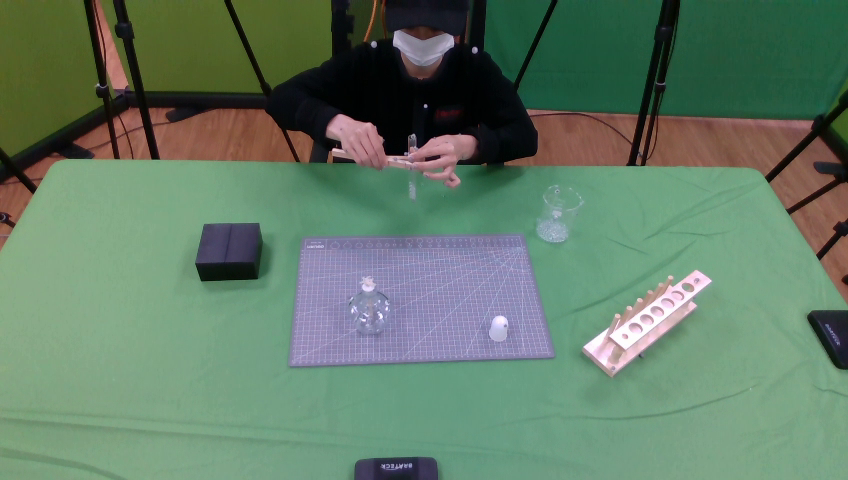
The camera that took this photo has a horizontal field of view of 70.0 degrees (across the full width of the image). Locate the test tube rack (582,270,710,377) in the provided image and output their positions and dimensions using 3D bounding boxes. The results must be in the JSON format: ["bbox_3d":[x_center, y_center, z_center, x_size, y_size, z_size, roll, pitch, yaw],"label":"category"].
[{"bbox_3d":[0.389,0.132,1.057,0.242,0.085,0.066,-28,53,-28],"label":"test tube rack"}]

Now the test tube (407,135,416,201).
[{"bbox_3d":[-0.024,-0.134,1.154,0.017,0.151,0.017,1,44,-1],"label":"test tube"}]

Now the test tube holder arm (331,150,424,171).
[{"bbox_3d":[-0.088,-0.150,1.141,0.178,0.015,0.013,8,43,3],"label":"test tube holder arm"}]

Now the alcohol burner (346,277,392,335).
[{"bbox_3d":[-0.093,0.106,1.021,0.078,0.120,0.077,1,46,-1],"label":"alcohol burner"}]

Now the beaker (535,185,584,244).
[{"bbox_3d":[0.268,-0.048,1.213,0.084,0.101,0.073,6,46,0],"label":"beaker"}]

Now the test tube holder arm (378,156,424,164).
[{"bbox_3d":[-0.044,-0.151,1.146,0.088,0.015,0.010,-2,45,-8],"label":"test tube holder arm"}]

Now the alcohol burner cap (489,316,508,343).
[{"bbox_3d":[0.130,0.151,1.045,0.034,0.048,0.033,3,46,-2],"label":"alcohol burner cap"}]
